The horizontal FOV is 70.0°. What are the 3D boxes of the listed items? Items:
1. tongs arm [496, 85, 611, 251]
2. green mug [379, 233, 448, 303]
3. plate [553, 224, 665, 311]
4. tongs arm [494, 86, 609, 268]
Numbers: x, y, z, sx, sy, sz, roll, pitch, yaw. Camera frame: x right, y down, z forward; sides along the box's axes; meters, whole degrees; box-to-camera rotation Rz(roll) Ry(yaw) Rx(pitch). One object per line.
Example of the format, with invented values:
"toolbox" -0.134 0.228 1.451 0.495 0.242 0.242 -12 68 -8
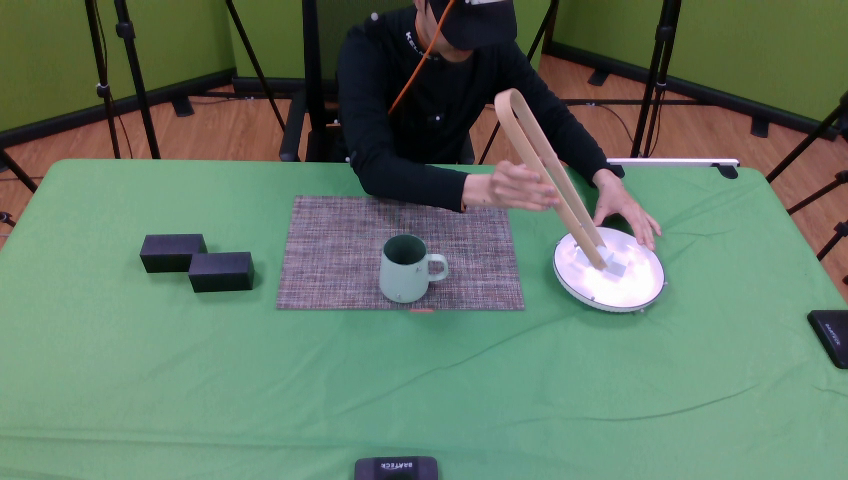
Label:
"tongs arm" 0.227 -0.108 1.012 0.027 0.390 0.028 -8 44 41
"green mug" -0.019 0.050 1.084 0.125 0.105 0.092 0 46 -4
"plate" 0.349 0.055 1.159 0.209 0.038 0.208 2 47 -2
"tongs arm" 0.219 -0.088 0.996 0.026 0.387 0.050 -11 45 38
